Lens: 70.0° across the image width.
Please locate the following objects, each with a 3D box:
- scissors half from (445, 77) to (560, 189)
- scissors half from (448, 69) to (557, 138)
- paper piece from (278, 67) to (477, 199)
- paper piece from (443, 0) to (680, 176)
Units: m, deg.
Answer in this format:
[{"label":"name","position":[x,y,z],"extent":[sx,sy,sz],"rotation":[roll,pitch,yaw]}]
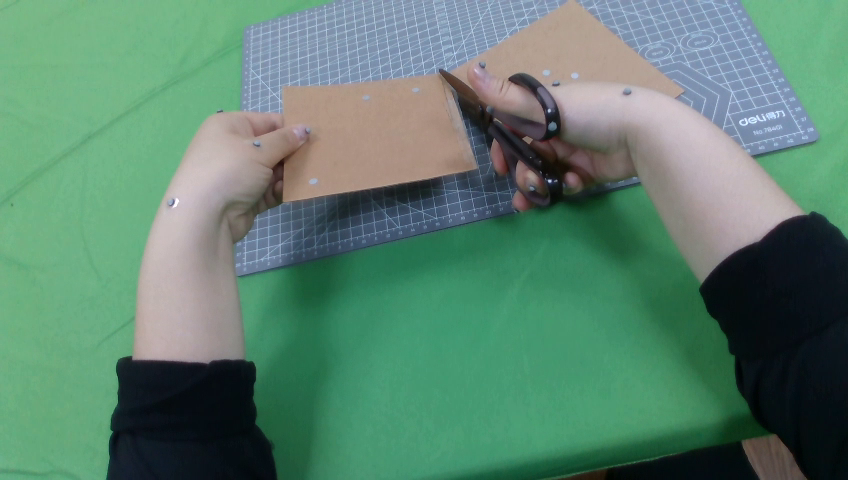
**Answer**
[{"label":"scissors half","position":[0.048,-0.087,0.445],"extent":[0.013,0.040,0.173],"rotation":[-23,45,-12]},{"label":"scissors half","position":[0.044,-0.104,0.433],"extent":[0.013,0.040,0.173],"rotation":[-19,23,-15]},{"label":"paper piece","position":[-0.041,-0.087,0.454],"extent":[0.138,0.009,0.134],"rotation":[-10,44,-2]},{"label":"paper piece","position":[0.108,-0.131,0.489],"extent":[0.135,0.004,0.134],"rotation":[-34,67,-9]}]
